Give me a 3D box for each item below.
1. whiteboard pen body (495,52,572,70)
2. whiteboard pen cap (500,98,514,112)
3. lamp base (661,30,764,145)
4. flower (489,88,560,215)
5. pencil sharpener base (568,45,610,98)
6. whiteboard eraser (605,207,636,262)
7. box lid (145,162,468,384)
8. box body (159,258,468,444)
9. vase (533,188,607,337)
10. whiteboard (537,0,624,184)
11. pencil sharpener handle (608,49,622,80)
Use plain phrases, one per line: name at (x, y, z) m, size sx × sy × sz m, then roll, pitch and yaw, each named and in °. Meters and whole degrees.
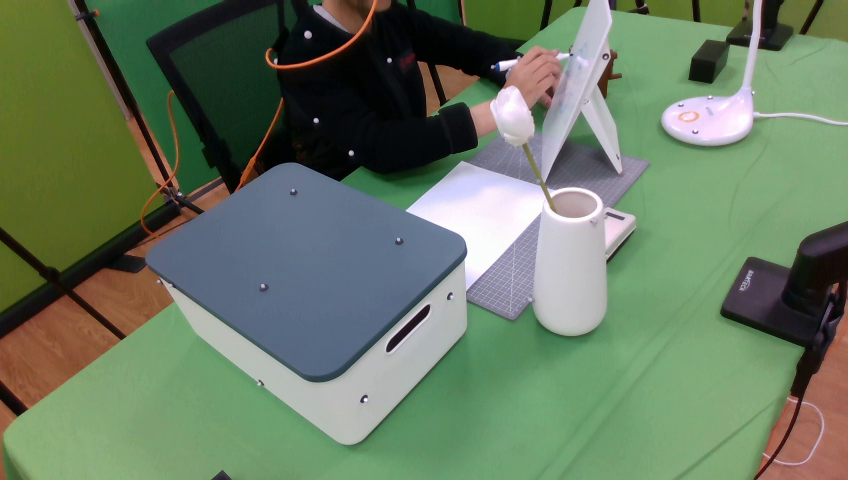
whiteboard pen body at (0.197, -0.322, 1.082) m, size 0.141 × 0.017 × 0.017 m, roll -9°, pitch 40°, yaw 0°
whiteboard pen cap at (0.176, -0.288, 1.289) m, size 0.018 × 0.018 × 0.033 m, roll 29°, pitch 64°, yaw 36°
lamp base at (0.535, -0.287, 1.096) m, size 0.179 × 0.181 × 0.159 m, roll -10°, pitch 40°, yaw -4°
flower at (0.158, -0.028, 0.720) m, size 0.038 × 0.364 × 0.044 m, roll -14°, pitch 44°, yaw 23°
pencil sharpener base at (0.345, -0.352, 1.263) m, size 0.077 × 0.107 × 0.061 m, roll -9°, pitch 40°, yaw 1°
whiteboard eraser at (0.273, -0.003, 0.919) m, size 0.055 × 0.042 × 0.113 m, roll 27°, pitch 51°, yaw 33°
box lid at (-0.157, 0.014, 0.769) m, size 0.368 × 0.015 × 0.264 m, roll 25°, pitch 51°, yaw 33°
box body at (-0.147, 0.072, 0.816) m, size 0.361 × 0.161 × 0.255 m, roll 24°, pitch 50°, yaw 33°
vase at (0.187, 0.033, 0.771) m, size 0.098 × 0.201 × 0.097 m, roll -6°, pitch 41°, yaw 6°
whiteboard at (0.316, -0.256, 1.047) m, size 0.144 × 0.306 × 0.216 m, roll 15°, pitch 42°, yaw -1°
pencil sharpener handle at (0.394, -0.368, 1.253) m, size 0.030 × 0.068 × 0.036 m, roll -9°, pitch 32°, yaw 1°
